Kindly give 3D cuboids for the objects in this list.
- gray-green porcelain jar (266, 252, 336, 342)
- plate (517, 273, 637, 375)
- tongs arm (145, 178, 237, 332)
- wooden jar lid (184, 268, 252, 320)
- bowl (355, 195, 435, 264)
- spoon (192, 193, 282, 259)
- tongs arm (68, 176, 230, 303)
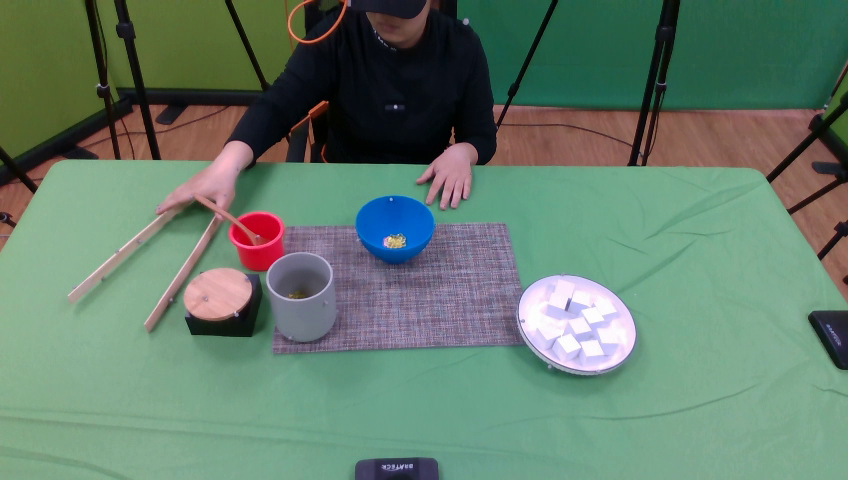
[{"bbox_3d":[-0.202,0.100,1.009,0.106,0.127,0.105,2,46,-2],"label":"gray-green porcelain jar"},{"bbox_3d":[0.264,0.149,1.060,0.209,0.038,0.208,3,46,-3],"label":"plate"},{"bbox_3d":[-0.432,0.014,1.149,0.028,0.028,0.385,8,45,7],"label":"tongs arm"},{"bbox_3d":[-0.343,0.092,1.015,0.108,0.021,0.107,3,46,-3],"label":"wooden jar lid"},{"bbox_3d":[-0.056,-0.008,1.158,0.151,0.077,0.150,2,46,-2],"label":"bowl"},{"bbox_3d":[-0.342,-0.027,1.115,0.194,0.021,0.041,43,40,-24],"label":"spoon"},{"bbox_3d":[-0.510,-0.011,1.162,0.050,0.026,0.383,20,47,14],"label":"tongs arm"}]
